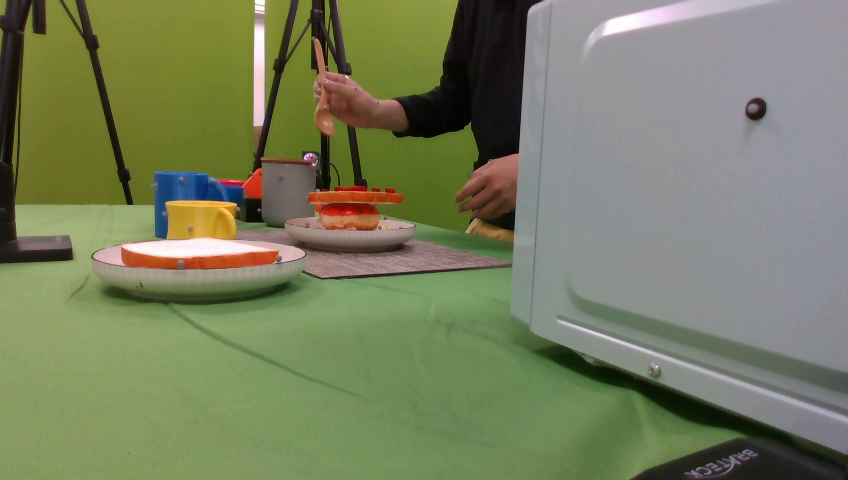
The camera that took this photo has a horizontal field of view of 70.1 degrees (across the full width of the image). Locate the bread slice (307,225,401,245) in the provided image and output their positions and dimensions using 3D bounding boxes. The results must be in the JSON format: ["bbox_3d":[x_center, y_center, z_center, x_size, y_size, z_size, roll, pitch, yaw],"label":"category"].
[{"bbox_3d":[-0.103,-0.009,0.962,0.131,0.019,0.105,1,9,25],"label":"bread slice"}]

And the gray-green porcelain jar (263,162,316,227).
[{"bbox_3d":[-0.271,-0.092,1.218,0.106,0.126,0.106,2,7,0],"label":"gray-green porcelain jar"}]

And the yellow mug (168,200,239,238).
[{"bbox_3d":[-0.320,-0.023,0.904,0.130,0.064,0.100,9,10,36],"label":"yellow mug"}]

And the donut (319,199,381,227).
[{"bbox_3d":[-0.118,-0.042,0.965,0.099,0.048,0.099,-9,-7,-1],"label":"donut"}]

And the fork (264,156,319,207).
[{"bbox_3d":[-0.331,-0.144,1.506,0.207,0.018,0.028,-42,-19,22],"label":"fork"}]

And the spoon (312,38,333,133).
[{"bbox_3d":[-0.186,-0.280,1.090,0.021,0.193,0.042,-17,-18,42],"label":"spoon"}]

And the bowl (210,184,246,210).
[{"bbox_3d":[-0.422,-0.067,1.166,0.151,0.077,0.151,2,7,0],"label":"bowl"}]

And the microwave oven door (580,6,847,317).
[{"bbox_3d":[0.295,-0.067,0.570,0.358,0.243,0.039,-3,9,-31],"label":"microwave oven door"}]

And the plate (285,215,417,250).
[{"bbox_3d":[-0.116,-0.014,0.964,0.209,0.038,0.209,2,8,0],"label":"plate"}]

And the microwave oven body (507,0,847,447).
[{"bbox_3d":[0.331,-0.042,0.425,0.444,0.260,0.324,-2,8,-31],"label":"microwave oven body"}]

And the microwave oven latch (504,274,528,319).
[{"bbox_3d":[0.100,0.041,0.471,0.079,0.029,0.030,-1,7,-28],"label":"microwave oven latch"}]

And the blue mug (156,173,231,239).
[{"bbox_3d":[-0.381,-0.057,1.004,0.117,0.106,0.082,0,8,-12],"label":"blue mug"}]

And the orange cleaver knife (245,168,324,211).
[{"bbox_3d":[-0.300,-0.089,1.351,0.212,0.077,0.012,28,-9,-34],"label":"orange cleaver knife"}]

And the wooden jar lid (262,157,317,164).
[{"bbox_3d":[-0.269,-0.154,1.209,0.108,0.020,0.108,3,5,0],"label":"wooden jar lid"}]

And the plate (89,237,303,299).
[{"bbox_3d":[-0.233,0.029,0.636,0.208,0.039,0.207,2,7,0],"label":"plate"}]

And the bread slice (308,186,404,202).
[{"bbox_3d":[-0.114,-0.071,0.952,0.134,0.018,0.107,-1,1,21],"label":"bread slice"}]
